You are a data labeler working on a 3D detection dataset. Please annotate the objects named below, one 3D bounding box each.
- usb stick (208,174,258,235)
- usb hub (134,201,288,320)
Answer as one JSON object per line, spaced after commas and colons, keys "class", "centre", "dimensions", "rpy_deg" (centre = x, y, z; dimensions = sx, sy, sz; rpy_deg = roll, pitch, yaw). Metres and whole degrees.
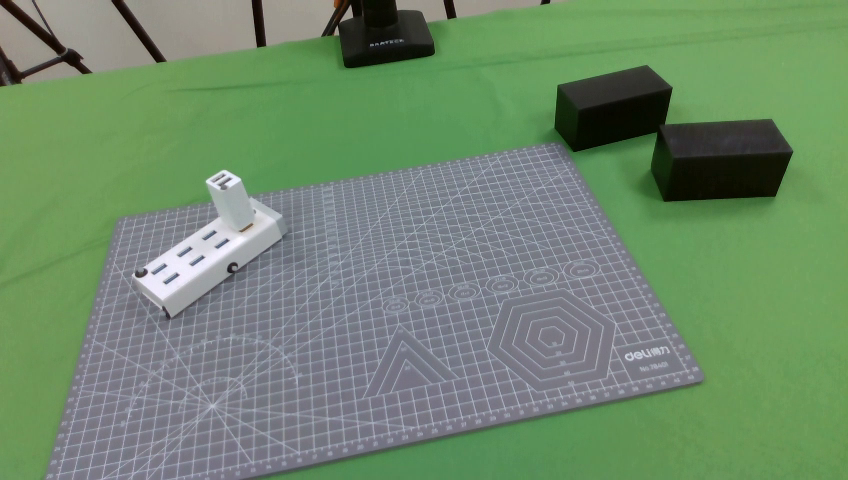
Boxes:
{"class": "usb stick", "centre": [-0.162, -0.025, 0.522], "dimensions": [0.027, 0.060, 0.021], "rpy_deg": [24, 52, 32]}
{"class": "usb hub", "centre": [-0.183, 0.014, 0.529], "dimensions": [0.049, 0.025, 0.125], "rpy_deg": [28, 53, 31]}
